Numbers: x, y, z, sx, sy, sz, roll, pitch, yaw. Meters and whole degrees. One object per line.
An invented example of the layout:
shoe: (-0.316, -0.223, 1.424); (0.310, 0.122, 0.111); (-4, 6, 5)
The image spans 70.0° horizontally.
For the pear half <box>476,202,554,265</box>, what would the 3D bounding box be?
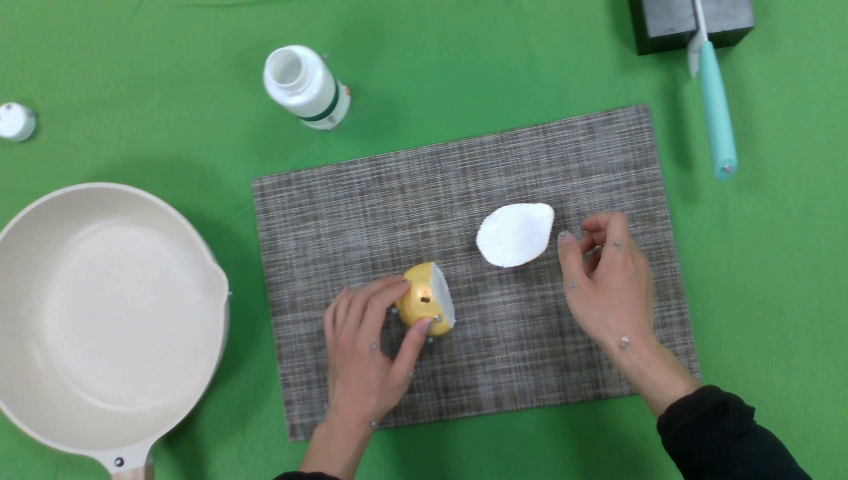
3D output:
pear half: (0.099, -0.005, 0.643); (0.088, 0.031, 0.070); (-33, 67, -7)

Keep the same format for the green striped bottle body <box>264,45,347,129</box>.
green striped bottle body: (-0.125, -0.161, 0.638); (0.063, 0.119, 0.063); (0, 86, 7)

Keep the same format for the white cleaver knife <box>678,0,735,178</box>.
white cleaver knife: (0.280, -0.204, 0.618); (0.021, 0.066, 0.285); (-7, 84, 12)

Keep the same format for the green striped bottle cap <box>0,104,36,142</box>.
green striped bottle cap: (-0.494, -0.141, 0.731); (0.044, 0.020, 0.044); (0, 87, 8)

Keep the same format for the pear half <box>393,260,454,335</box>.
pear half: (-0.005, 0.062, 0.614); (0.056, 0.110, 0.076); (-23, 80, 7)

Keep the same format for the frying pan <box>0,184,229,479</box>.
frying pan: (-0.326, 0.184, 0.653); (0.307, 0.103, 0.485); (-15, 77, 7)
